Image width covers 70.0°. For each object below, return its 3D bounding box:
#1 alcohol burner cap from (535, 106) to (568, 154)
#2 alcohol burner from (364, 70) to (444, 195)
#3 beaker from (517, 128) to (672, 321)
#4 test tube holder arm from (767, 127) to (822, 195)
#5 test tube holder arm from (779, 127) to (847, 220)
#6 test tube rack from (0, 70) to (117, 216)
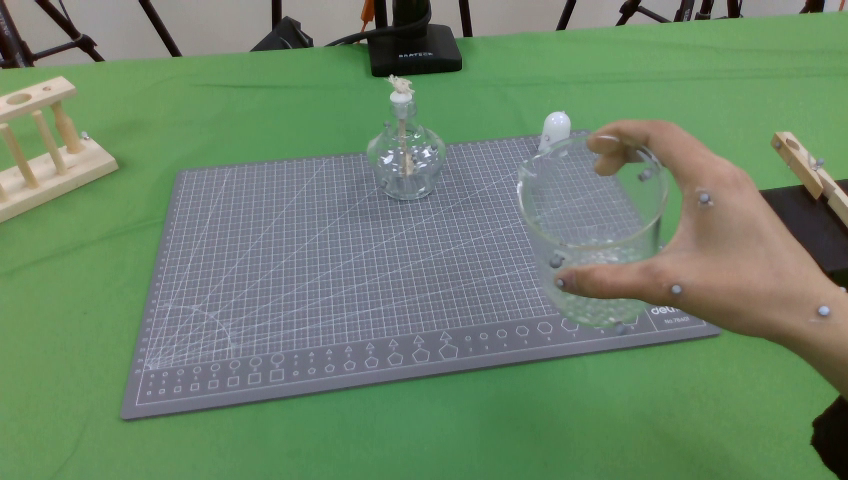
[{"bbox_3d":[0.137,-0.119,0.642,0.034,0.048,0.033,0,43,0],"label":"alcohol burner cap"},{"bbox_3d":[-0.020,-0.103,0.575,0.078,0.120,0.077,-2,42,2],"label":"alcohol burner"},{"bbox_3d":[0.096,-0.004,0.349,0.083,0.101,0.074,30,71,33],"label":"beaker"},{"bbox_3d":[0.334,-0.072,0.543,0.010,0.015,0.087,-9,43,2],"label":"test tube holder arm"},{"bbox_3d":[0.343,-0.042,0.510,0.013,0.015,0.176,-10,43,2],"label":"test tube holder arm"},{"bbox_3d":[-0.432,-0.067,0.565,0.066,0.086,0.242,33,53,31],"label":"test tube rack"}]
